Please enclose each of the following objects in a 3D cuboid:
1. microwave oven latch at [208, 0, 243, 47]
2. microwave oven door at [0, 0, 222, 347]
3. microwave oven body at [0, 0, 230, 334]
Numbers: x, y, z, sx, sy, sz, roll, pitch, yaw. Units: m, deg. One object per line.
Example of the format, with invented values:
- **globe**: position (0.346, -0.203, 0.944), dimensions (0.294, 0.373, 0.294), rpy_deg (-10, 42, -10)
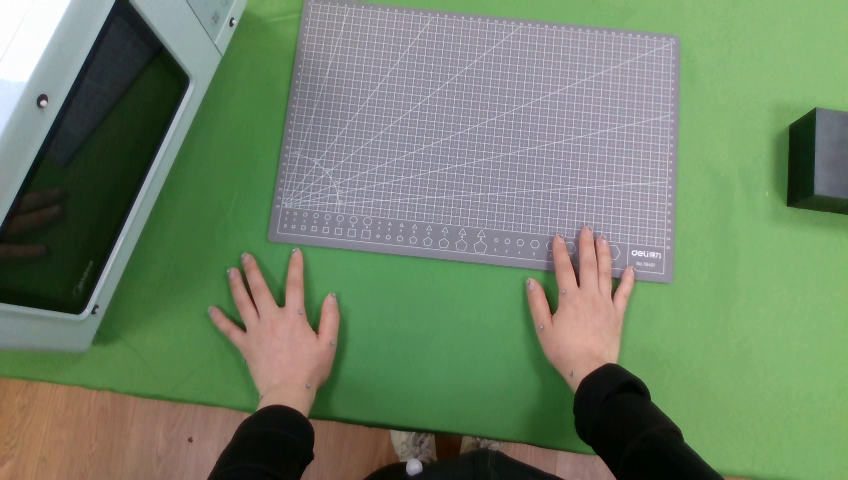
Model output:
- **microwave oven latch**: position (-0.228, -0.261, 0.683), dimensions (0.030, 0.029, 0.079), rpy_deg (21, 81, 3)
- **microwave oven door**: position (-0.304, -0.079, 0.545), dimensions (0.039, 0.244, 0.354), rpy_deg (20, 80, 3)
- **microwave oven body**: position (-0.427, -0.166, 0.564), dimensions (0.326, 0.261, 0.440), rpy_deg (20, 80, 2)
